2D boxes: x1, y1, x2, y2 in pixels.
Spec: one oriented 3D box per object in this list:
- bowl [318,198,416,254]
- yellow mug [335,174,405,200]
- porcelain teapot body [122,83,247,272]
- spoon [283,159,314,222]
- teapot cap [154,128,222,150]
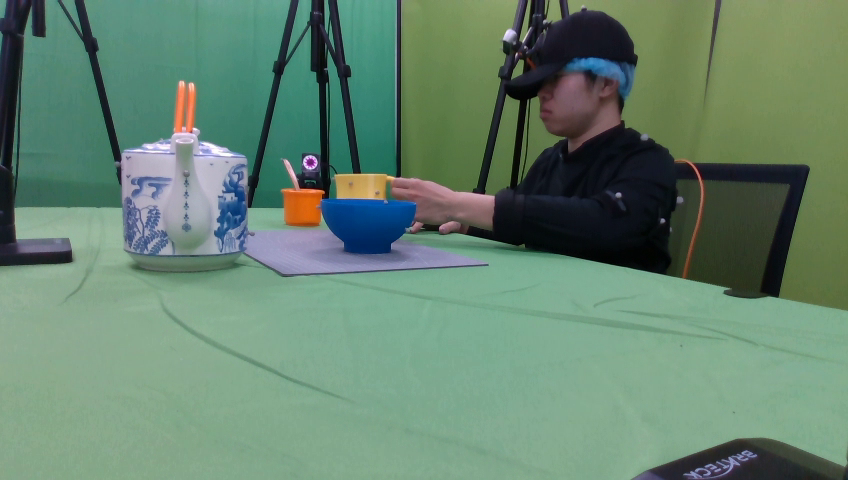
[{"bbox_3d":[-0.089,-0.022,0.941,0.151,0.077,0.151,2,7,0],"label":"bowl"},{"bbox_3d":[-0.102,-0.091,1.140,0.131,0.064,0.100,-1,5,-6],"label":"yellow mug"},{"bbox_3d":[-0.286,-0.075,0.733,0.146,0.225,0.204,0,8,-24],"label":"porcelain teapot body"},{"bbox_3d":[-0.280,-0.111,1.323,0.042,0.193,0.021,1,-37,-34],"label":"spoon"},{"bbox_3d":[-0.294,-0.117,0.754,0.085,0.044,0.085,4,9,0],"label":"teapot cap"}]
